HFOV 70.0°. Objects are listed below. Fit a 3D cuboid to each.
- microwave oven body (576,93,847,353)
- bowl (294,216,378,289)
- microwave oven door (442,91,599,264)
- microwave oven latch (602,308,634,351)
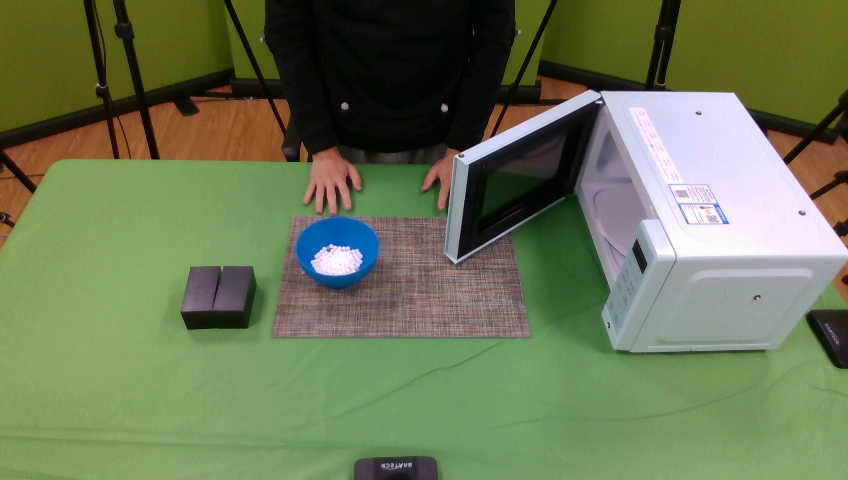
[{"bbox_3d":[0.475,-0.041,1.109,0.326,0.261,0.438,-1,45,-4],"label":"microwave oven body"},{"bbox_3d":[-0.158,0.036,1.110,0.151,0.077,0.150,3,45,-2],"label":"bowl"},{"bbox_3d":[0.187,-0.123,1.160,0.356,0.245,0.039,-29,55,-28],"label":"microwave oven door"},{"bbox_3d":[0.332,0.153,1.043,0.030,0.029,0.078,-1,45,-4],"label":"microwave oven latch"}]
